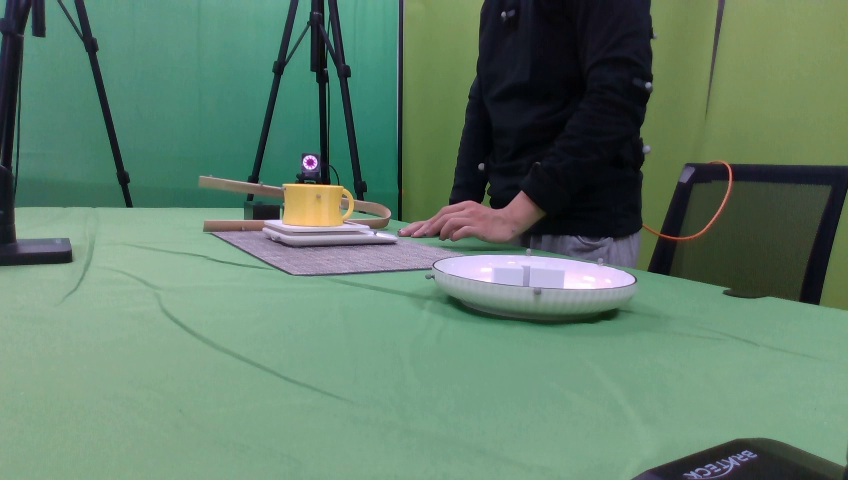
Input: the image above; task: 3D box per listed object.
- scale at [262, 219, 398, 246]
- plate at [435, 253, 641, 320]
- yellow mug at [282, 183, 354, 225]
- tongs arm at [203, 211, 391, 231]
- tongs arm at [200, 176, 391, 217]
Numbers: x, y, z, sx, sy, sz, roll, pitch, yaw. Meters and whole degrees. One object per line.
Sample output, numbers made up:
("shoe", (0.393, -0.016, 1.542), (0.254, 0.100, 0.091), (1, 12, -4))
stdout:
("scale", (-0.160, -0.015, 1.028), (0.202, 0.031, 0.148), (-1, 9, -31))
("plate", (0.114, 0.047, 0.626), (0.208, 0.039, 0.207), (2, 7, 0))
("yellow mug", (-0.172, -0.061, 1.009), (0.131, 0.064, 0.099), (-2, 7, -41))
("tongs arm", (-0.231, -0.036, 1.185), (0.390, 0.028, 0.028), (-3, 33, -33))
("tongs arm", (-0.258, -0.084, 1.245), (0.387, 0.026, 0.050), (6, 32, -22))
